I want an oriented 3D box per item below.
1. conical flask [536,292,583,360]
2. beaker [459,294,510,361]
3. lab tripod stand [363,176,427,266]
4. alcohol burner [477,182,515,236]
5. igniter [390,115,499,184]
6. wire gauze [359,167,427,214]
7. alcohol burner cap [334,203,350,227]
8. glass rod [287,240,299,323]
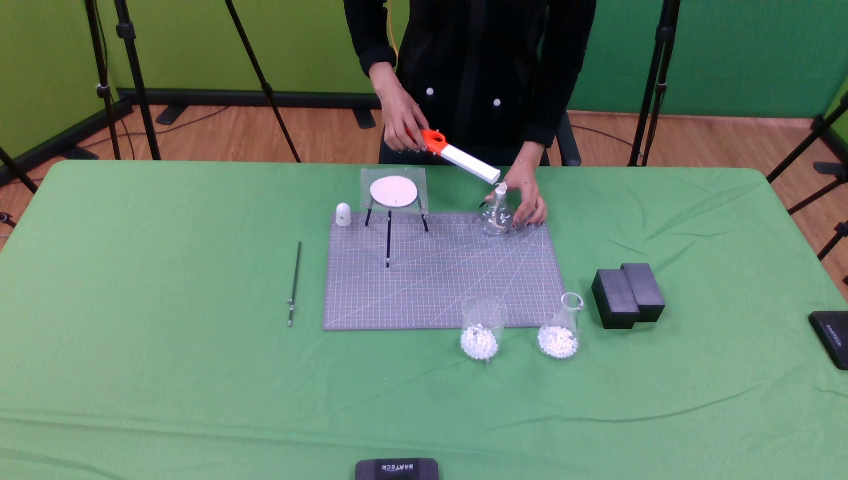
[{"bbox_3d":[0.234,0.139,1.015,0.075,0.122,0.075,2,46,-2],"label":"conical flask"},{"bbox_3d":[0.095,0.147,1.012,0.083,0.101,0.074,26,49,21],"label":"beaker"},{"bbox_3d":[-0.058,-0.047,1.159,0.148,0.132,0.147,3,44,-2],"label":"lab tripod stand"},{"bbox_3d":[0.146,-0.066,1.208,0.078,0.119,0.077,2,44,-2],"label":"alcohol burner"},{"bbox_3d":[0.033,-0.188,1.233,0.275,0.025,0.057,32,62,25],"label":"igniter"},{"bbox_3d":[-0.059,-0.093,1.110,0.125,0.011,0.120,2,45,-5],"label":"wire gauze"},{"bbox_3d":[-0.166,-0.054,1.220,0.034,0.048,0.033,2,45,-2],"label":"alcohol burner cap"},{"bbox_3d":[-0.242,0.072,1.119,0.008,0.008,0.198,-1,47,-5],"label":"glass rod"}]
